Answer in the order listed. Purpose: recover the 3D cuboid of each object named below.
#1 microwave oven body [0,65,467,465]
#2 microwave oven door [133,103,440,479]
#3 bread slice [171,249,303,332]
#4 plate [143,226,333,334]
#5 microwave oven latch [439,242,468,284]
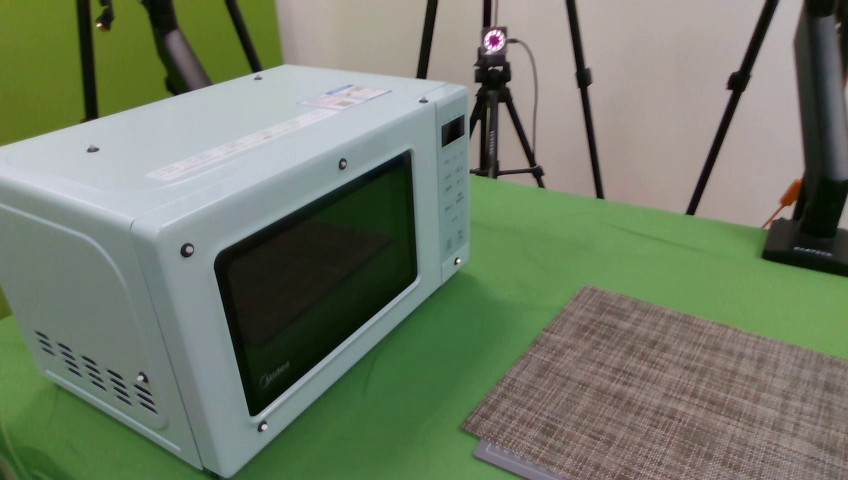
[{"bbox_3d":[-0.194,-0.016,0.698,0.324,0.262,0.441,15,33,29],"label":"microwave oven body"},{"bbox_3d":[-0.093,0.027,0.594,0.039,0.245,0.355,14,32,29],"label":"microwave oven door"},{"bbox_3d":[-0.209,0.049,0.696,0.104,0.019,0.131,22,39,37],"label":"bread slice"},{"bbox_3d":[-0.206,0.046,0.691,0.209,0.038,0.207,-3,28,2],"label":"plate"},{"bbox_3d":[0.030,0.028,0.804,0.030,0.030,0.079,15,33,29],"label":"microwave oven latch"}]
